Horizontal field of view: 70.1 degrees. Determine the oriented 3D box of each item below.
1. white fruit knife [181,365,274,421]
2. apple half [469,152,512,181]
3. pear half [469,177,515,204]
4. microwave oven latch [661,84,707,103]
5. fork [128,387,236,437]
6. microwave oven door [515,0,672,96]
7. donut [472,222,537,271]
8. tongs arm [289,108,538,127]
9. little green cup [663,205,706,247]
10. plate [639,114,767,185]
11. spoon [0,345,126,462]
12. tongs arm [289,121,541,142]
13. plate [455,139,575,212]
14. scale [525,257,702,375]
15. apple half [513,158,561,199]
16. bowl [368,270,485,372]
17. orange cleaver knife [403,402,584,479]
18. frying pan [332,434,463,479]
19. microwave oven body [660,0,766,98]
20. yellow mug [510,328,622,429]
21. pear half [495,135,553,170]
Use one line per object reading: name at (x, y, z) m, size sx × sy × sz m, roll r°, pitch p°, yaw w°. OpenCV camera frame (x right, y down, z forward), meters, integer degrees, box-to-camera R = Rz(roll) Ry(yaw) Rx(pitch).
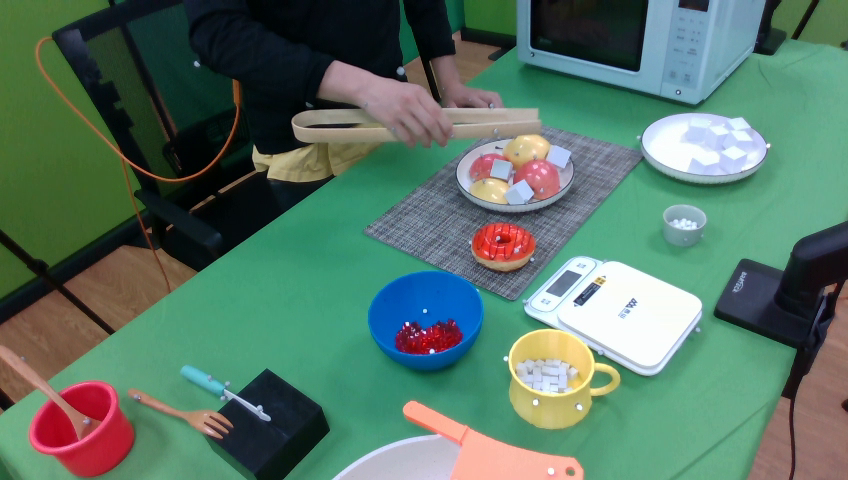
white fruit knife at (-0.245, 0.188, 0.747) m, size 0.205 × 0.027 × 0.016 m, roll 9°, pitch 41°, yaw 40°
apple half at (0.121, -0.139, 1.088) m, size 0.081 × 0.033 × 0.081 m, roll 0°, pitch 45°, yaw 0°
pear half at (0.115, -0.090, 1.036) m, size 0.087 × 0.031 × 0.071 m, roll 30°, pitch 40°, yaw 32°
microwave oven latch at (0.517, -0.296, 1.204) m, size 0.078 × 0.029 × 0.030 m, roll 27°, pitch 52°, yaw 35°
fork at (-0.305, 0.207, 0.744) m, size 0.206 × 0.019 × 0.028 m, roll 3°, pitch 40°, yaw 36°
microwave oven door at (0.343, -0.454, 1.259) m, size 0.353 × 0.245 × 0.039 m, roll 26°, pitch 51°, yaw 33°
donut at (0.123, 0.009, 0.923) m, size 0.099 × 0.048 × 0.098 m, roll -3°, pitch 38°, yaw 3°
tongs arm at (-0.016, -0.185, 0.945) m, size 0.384 × 0.026 × 0.050 m, roll 3°, pitch 43°, yaw 7°
little green cup at (0.396, -0.020, 0.926) m, size 0.061 × 0.039 × 0.061 m, roll -4°, pitch 40°, yaw 4°
plate at (0.489, -0.157, 1.074) m, size 0.207 × 0.039 × 0.206 m, roll -4°, pitch 40°, yaw 4°
spoon at (-0.434, 0.192, 0.720) m, size 0.194 × 0.021 × 0.042 m, roll 47°, pitch 53°, yaw -7°
tongs arm at (-0.018, -0.167, 0.925) m, size 0.387 × 0.028 × 0.028 m, roll 0°, pitch 47°, yaw 5°
plate at (0.159, -0.111, 1.063) m, size 0.209 × 0.038 × 0.208 m, roll -4°, pitch 40°, yaw 4°
scale at (0.254, 0.091, 0.821) m, size 0.199 × 0.032 × 0.149 m, roll 28°, pitch 51°, yaw 35°
apple half at (0.193, -0.111, 1.031) m, size 0.080 × 0.053 × 0.075 m, roll 11°, pitch 41°, yaw 26°
bowl at (0.007, 0.119, 0.791) m, size 0.151 × 0.077 × 0.150 m, roll -5°, pitch 39°, yaw 4°
orange cleaver knife at (0.062, 0.222, 0.609) m, size 0.210 × 0.012 × 0.077 m, roll 15°, pitch 48°, yaw 25°
frying pan at (-0.089, 0.306, 0.564) m, size 0.487 × 0.103 × 0.306 m, roll 10°, pitch 41°, yaw 7°
microwave oven body at (0.472, -0.513, 1.317) m, size 0.438 × 0.261 × 0.327 m, roll 26°, pitch 51°, yaw 34°
yellow mug at (0.168, 0.164, 0.721) m, size 0.130 × 0.064 × 0.099 m, roll 0°, pitch 40°, yaw 8°
pear half at (0.174, -0.168, 1.094) m, size 0.109 × 0.056 × 0.076 m, roll 15°, pitch 53°, yaw 30°
